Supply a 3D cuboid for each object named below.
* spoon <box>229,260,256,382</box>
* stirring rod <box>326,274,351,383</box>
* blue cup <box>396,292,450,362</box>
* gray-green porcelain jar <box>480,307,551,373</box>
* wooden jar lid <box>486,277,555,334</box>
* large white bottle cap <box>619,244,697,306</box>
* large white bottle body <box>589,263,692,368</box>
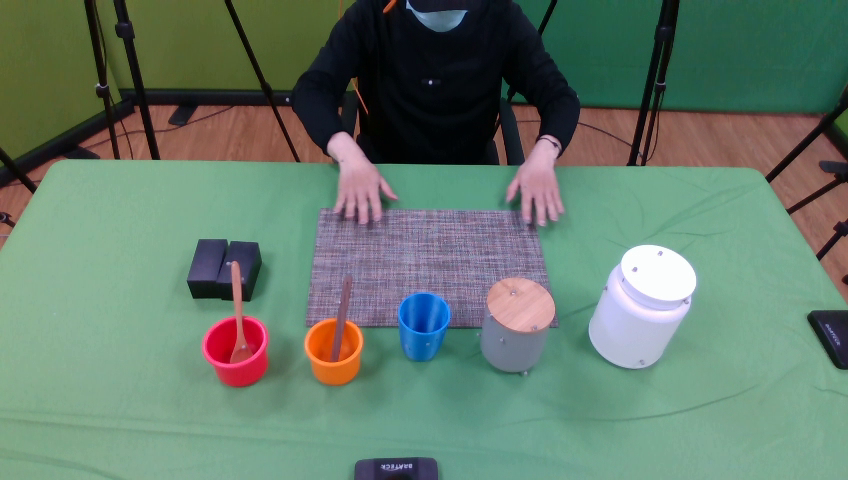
[{"bbox_3d":[-0.294,0.129,0.966,0.042,0.021,0.193,-4,91,-9],"label":"spoon"},{"bbox_3d":[-0.137,0.142,0.971,0.014,0.006,0.176,9,88,1],"label":"stirring rod"},{"bbox_3d":[-0.005,0.149,0.997,0.093,0.101,0.092,3,47,-3],"label":"blue cup"},{"bbox_3d":[0.148,0.148,0.992,0.106,0.127,0.105,2,46,-2],"label":"gray-green porcelain jar"},{"bbox_3d":[0.150,0.105,0.948,0.108,0.021,0.107,3,47,-3],"label":"wooden jar lid"},{"bbox_3d":[0.363,0.052,0.939,0.115,0.018,0.114,2,46,-2],"label":"large white bottle cap"},{"bbox_3d":[0.358,0.110,1.000,0.131,0.185,0.130,2,46,-2],"label":"large white bottle body"}]
